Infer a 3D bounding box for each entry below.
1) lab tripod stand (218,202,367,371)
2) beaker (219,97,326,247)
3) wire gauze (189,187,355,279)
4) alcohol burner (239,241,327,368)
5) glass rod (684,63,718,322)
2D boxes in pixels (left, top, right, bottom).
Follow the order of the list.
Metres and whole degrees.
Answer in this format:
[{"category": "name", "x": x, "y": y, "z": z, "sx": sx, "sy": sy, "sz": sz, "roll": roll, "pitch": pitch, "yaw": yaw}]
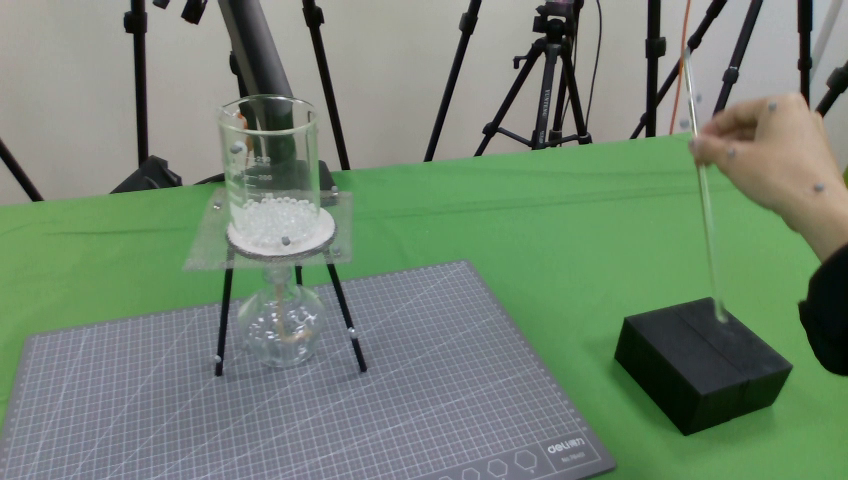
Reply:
[{"category": "lab tripod stand", "x": -0.115, "y": 0.044, "z": 0.536, "sx": 0.148, "sy": 0.132, "sz": 0.147, "roll": 4, "pitch": 32, "yaw": -2}, {"category": "beaker", "x": -0.118, "y": -0.052, "z": 0.473, "sx": 0.083, "sy": 0.101, "sz": 0.074, "roll": 20, "pitch": 36, "yaw": 22}, {"category": "wire gauze", "x": -0.118, "y": -0.011, "z": 0.499, "sx": 0.121, "sy": 0.011, "sz": 0.124, "roll": -1, "pitch": 36, "yaw": -6}, {"category": "alcohol burner", "x": -0.126, "y": 0.054, "z": 0.538, "sx": 0.078, "sy": 0.120, "sz": 0.077, "roll": 1, "pitch": 32, "yaw": 0}, {"category": "glass rod", "x": 0.211, "y": -0.038, "z": 0.460, "sx": 0.008, "sy": 0.199, "sz": 0.008, "roll": -4, "pitch": -4, "yaw": 0}]
